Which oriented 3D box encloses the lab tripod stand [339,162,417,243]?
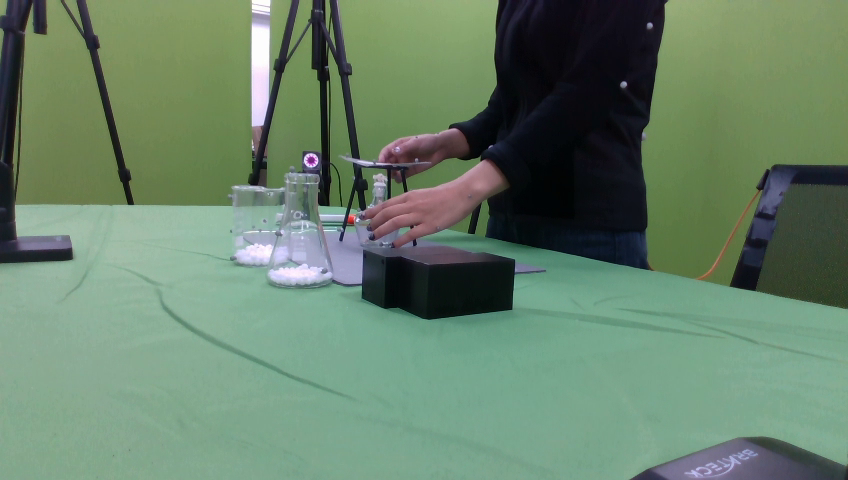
[{"bbox_3d":[-0.067,-0.065,1.027,0.148,0.131,0.148,4,7,0],"label":"lab tripod stand"}]

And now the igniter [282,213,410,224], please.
[{"bbox_3d":[-0.159,-0.046,1.287,0.278,0.025,0.057,0,-3,-21],"label":"igniter"}]

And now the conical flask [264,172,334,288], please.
[{"bbox_3d":[-0.136,-0.013,0.660,0.075,0.122,0.075,2,7,0],"label":"conical flask"}]

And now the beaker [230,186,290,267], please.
[{"bbox_3d":[-0.209,-0.019,0.778,0.074,0.100,0.084,3,6,4],"label":"beaker"}]

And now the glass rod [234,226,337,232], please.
[{"bbox_3d":[-0.256,-0.022,1.136,0.201,0.008,0.008,-3,8,-33],"label":"glass rod"}]

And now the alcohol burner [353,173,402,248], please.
[{"bbox_3d":[-0.073,-0.047,0.964,0.078,0.119,0.078,4,8,0],"label":"alcohol burner"}]

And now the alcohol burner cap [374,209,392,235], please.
[{"bbox_3d":[-0.078,-0.036,1.148,0.034,0.048,0.034,3,8,0],"label":"alcohol burner cap"}]

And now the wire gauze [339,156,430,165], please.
[{"bbox_3d":[-0.067,-0.132,1.022,0.122,0.011,0.124,-1,9,-31],"label":"wire gauze"}]
